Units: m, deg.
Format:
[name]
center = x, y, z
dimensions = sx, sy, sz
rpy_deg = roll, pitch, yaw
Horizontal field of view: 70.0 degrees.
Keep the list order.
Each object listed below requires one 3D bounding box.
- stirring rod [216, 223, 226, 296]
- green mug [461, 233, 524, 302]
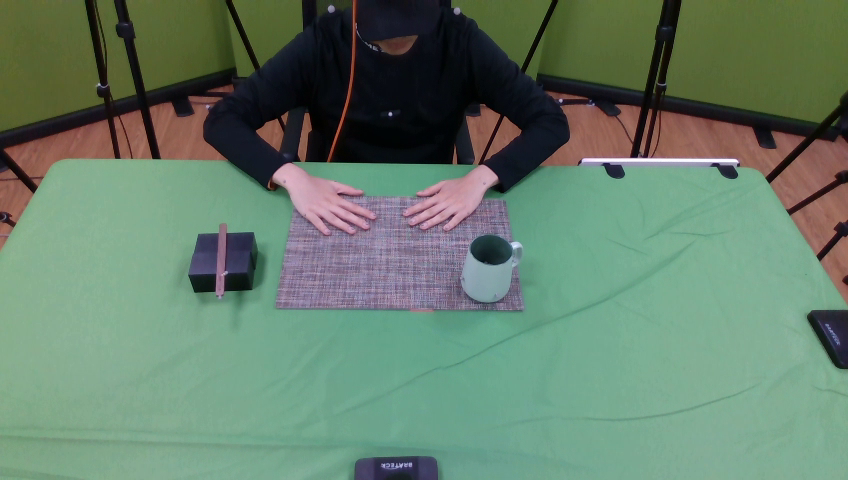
[stirring rod]
center = -0.362, 0.031, 1.083
dimensions = 0.014, 0.006, 0.175
rpy_deg = -7, 47, -9
[green mug]
center = 0.130, 0.044, 1.102
dimensions = 0.125, 0.105, 0.092
rpy_deg = -25, 53, -25
